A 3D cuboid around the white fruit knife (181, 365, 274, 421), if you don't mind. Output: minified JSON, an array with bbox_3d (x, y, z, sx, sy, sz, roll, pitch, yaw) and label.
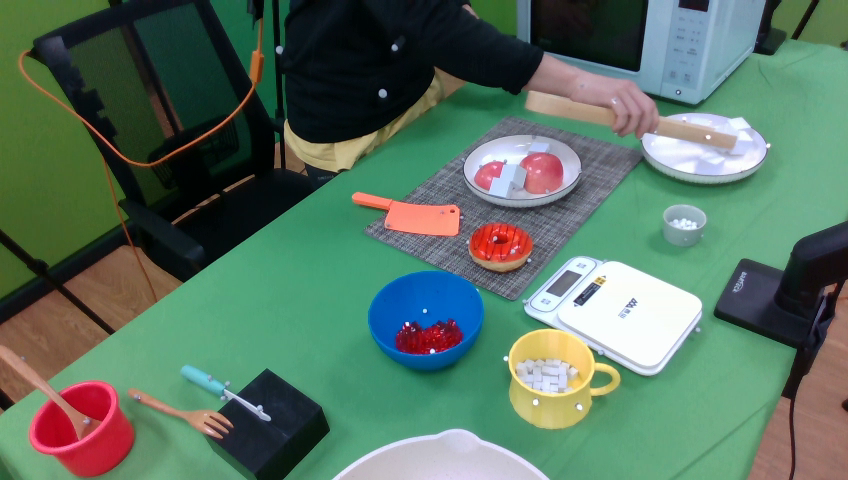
[{"bbox_3d":[-0.245,0.187,0.747,0.205,0.027,0.016,9,41,41],"label":"white fruit knife"}]

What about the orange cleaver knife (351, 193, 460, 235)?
[{"bbox_3d":[-0.036,-0.044,1.029,0.210,0.012,0.077,10,49,18],"label":"orange cleaver knife"}]

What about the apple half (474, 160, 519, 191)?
[{"bbox_3d":[0.131,-0.120,1.068,0.081,0.033,0.081,-4,36,3],"label":"apple half"}]

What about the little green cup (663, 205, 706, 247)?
[{"bbox_3d":[0.396,-0.020,0.926,0.061,0.039,0.061,-4,40,4],"label":"little green cup"}]

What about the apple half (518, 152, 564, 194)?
[{"bbox_3d":[0.204,-0.124,1.048,0.075,0.053,0.080,-7,41,-3],"label":"apple half"}]

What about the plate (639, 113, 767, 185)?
[{"bbox_3d":[0.489,-0.157,1.074,0.207,0.039,0.206,-4,40,4],"label":"plate"}]

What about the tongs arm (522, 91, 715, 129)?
[{"bbox_3d":[0.328,-0.195,0.975,0.387,0.026,0.050,6,21,-18],"label":"tongs arm"}]

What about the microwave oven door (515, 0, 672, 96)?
[{"bbox_3d":[0.344,-0.455,1.259,0.353,0.245,0.039,26,51,33],"label":"microwave oven door"}]

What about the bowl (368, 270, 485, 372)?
[{"bbox_3d":[0.007,0.118,0.791,0.151,0.077,0.150,-4,40,4],"label":"bowl"}]

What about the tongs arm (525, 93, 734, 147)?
[{"bbox_3d":[0.337,-0.185,0.951,0.390,0.028,0.028,5,24,-21],"label":"tongs arm"}]

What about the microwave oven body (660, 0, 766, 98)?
[{"bbox_3d":[0.472,-0.513,1.317,0.438,0.261,0.327,26,51,34],"label":"microwave oven body"}]

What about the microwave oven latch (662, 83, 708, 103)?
[{"bbox_3d":[0.518,-0.296,1.204,0.078,0.029,0.030,28,52,35],"label":"microwave oven latch"}]

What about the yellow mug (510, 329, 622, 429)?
[{"bbox_3d":[0.168,0.164,0.721,0.130,0.064,0.099,0,40,8],"label":"yellow mug"}]

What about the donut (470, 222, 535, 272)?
[{"bbox_3d":[0.119,0.009,0.923,0.099,0.048,0.098,-4,38,3],"label":"donut"}]

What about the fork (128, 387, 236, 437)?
[{"bbox_3d":[-0.305,0.207,0.744,0.206,0.019,0.028,3,41,36],"label":"fork"}]

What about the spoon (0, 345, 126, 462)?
[{"bbox_3d":[-0.434,0.191,0.720,0.194,0.021,0.042,47,53,-6],"label":"spoon"}]

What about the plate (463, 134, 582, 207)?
[{"bbox_3d":[0.173,-0.119,1.070,0.209,0.038,0.208,-4,40,4],"label":"plate"}]

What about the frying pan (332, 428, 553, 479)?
[{"bbox_3d":[-0.089,0.306,0.564,0.487,0.103,0.306,10,41,7],"label":"frying pan"}]

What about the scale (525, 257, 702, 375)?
[{"bbox_3d":[0.254,0.091,0.821,0.199,0.032,0.149,28,51,35],"label":"scale"}]
